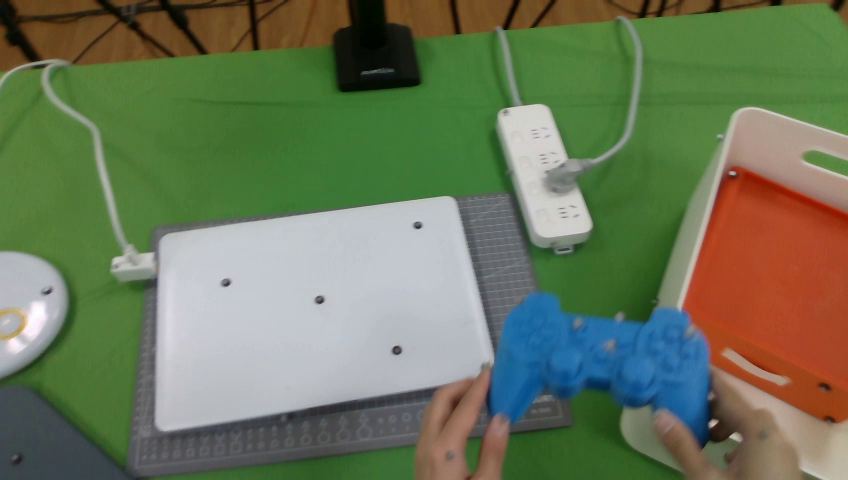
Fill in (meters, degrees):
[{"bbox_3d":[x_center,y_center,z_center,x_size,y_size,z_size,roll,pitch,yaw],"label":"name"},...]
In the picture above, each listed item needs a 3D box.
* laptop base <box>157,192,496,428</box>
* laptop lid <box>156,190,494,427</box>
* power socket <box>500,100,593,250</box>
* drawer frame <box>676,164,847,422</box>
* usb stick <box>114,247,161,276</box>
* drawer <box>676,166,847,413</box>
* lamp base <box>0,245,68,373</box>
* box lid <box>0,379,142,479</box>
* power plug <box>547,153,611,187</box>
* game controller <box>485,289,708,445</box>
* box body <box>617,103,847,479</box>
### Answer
[{"bbox_3d":[-0.115,0.067,0.684,0.355,0.023,0.233,-8,64,-6],"label":"laptop base"},{"bbox_3d":[-0.115,0.063,0.672,0.357,0.013,0.239,-7,63,-4],"label":"laptop lid"},{"bbox_3d":[0.153,-0.091,0.772,0.072,0.033,0.224,-7,60,-6],"label":"power socket"},{"bbox_3d":[0.382,0.048,0.655,0.201,0.083,0.213,28,59,14],"label":"drawer frame"},{"bbox_3d":[-0.319,0.024,0.692,0.059,0.027,0.021,-4,54,-7],"label":"usb stick"},{"bbox_3d":[0.386,0.047,0.654,0.193,0.074,0.211,27,65,15],"label":"drawer"},{"bbox_3d":[-0.490,0.033,0.605,0.178,0.182,0.159,17,61,13],"label":"lamp base"},{"bbox_3d":[-0.362,0.318,0.540,0.369,0.015,0.262,32,65,16],"label":"box lid"},{"bbox_3d":[0.187,-0.079,0.739,0.072,0.053,0.035,3,59,-1],"label":"power plug"},{"bbox_3d":[0.126,0.087,0.441,0.155,0.052,0.096,6,59,12],"label":"game controller"},{"bbox_3d":[0.370,0.073,0.603,0.253,0.161,0.362,23,62,12],"label":"box body"}]
